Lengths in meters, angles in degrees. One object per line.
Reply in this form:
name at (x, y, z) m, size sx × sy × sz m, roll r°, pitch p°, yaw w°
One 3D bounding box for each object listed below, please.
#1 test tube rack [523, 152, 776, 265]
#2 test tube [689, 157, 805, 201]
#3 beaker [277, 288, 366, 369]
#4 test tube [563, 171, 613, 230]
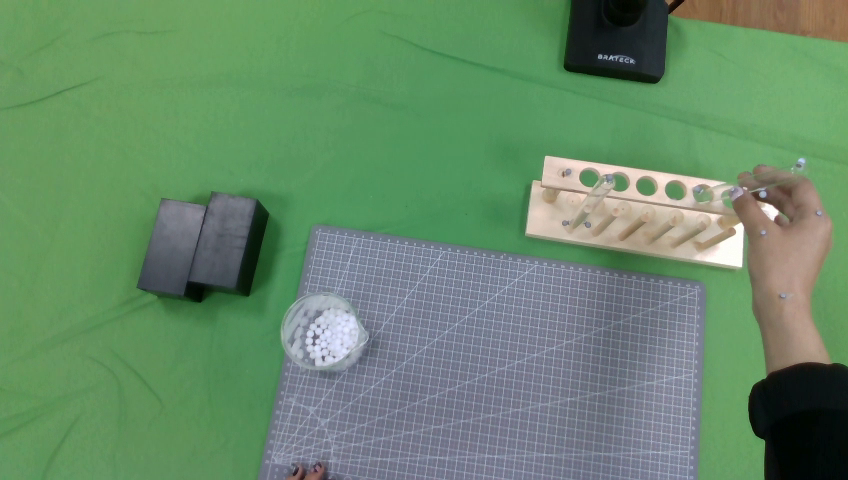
test tube rack at (0.238, -0.032, 0.661) m, size 0.242 × 0.085 × 0.066 m, roll 9°, pitch 76°, yaw 2°
test tube at (0.298, -0.054, 0.580) m, size 0.017 × 0.150 × 0.017 m, roll 2°, pitch 83°, yaw -14°
beaker at (-0.097, 0.094, 0.616) m, size 0.084 × 0.100 × 0.073 m, roll 9°, pitch 76°, yaw 1°
test tube at (0.165, -0.038, 0.616) m, size 0.017 × 0.151 × 0.017 m, roll 0°, pitch 75°, yaw 1°
